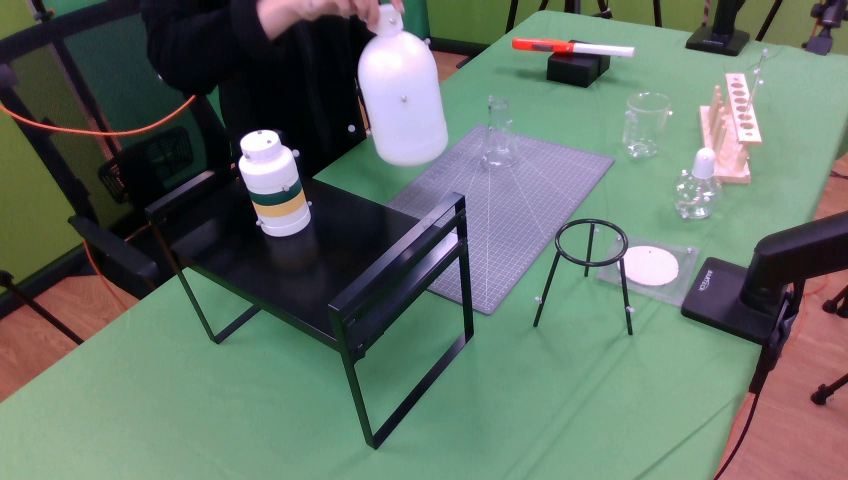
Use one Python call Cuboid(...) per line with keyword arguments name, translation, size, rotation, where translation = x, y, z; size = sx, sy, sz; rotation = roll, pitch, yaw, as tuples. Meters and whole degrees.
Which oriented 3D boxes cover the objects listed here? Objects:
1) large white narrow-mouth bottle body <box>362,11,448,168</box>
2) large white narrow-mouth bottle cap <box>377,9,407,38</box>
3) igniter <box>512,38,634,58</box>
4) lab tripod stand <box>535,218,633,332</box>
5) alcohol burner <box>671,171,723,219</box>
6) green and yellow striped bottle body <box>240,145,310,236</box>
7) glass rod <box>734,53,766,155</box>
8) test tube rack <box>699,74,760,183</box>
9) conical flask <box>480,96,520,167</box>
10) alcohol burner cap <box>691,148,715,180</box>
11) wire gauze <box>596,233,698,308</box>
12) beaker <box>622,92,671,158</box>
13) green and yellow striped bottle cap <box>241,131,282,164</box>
Cuboid(name="large white narrow-mouth bottle body", translation=(-0.028, -0.200, 0.796), size=(0.102, 0.195, 0.101), rotation=(-6, 39, 5))
Cuboid(name="large white narrow-mouth bottle cap", translation=(-0.039, -0.266, 0.742), size=(0.037, 0.024, 0.037), rotation=(-6, 39, 5))
Cuboid(name="igniter", translation=(0.328, -0.433, 1.360), size=(0.275, 0.025, 0.057), rotation=(12, 33, 20))
Cuboid(name="lab tripod stand", translation=(0.215, 0.050, 0.803), size=(0.148, 0.132, 0.147), rotation=(-4, 42, 4))
Cuboid(name="alcohol burner", translation=(0.434, -0.093, 0.955), size=(0.078, 0.119, 0.077), rotation=(-3, 43, 3))
Cuboid(name="green and yellow striped bottle body", translation=(-0.181, -0.069, 0.729), size=(0.063, 0.120, 0.063), rotation=(-4, 40, 4))
Cuboid(name="glass rod", translation=(0.540, -0.220, 1.006), size=(0.008, 0.201, 0.008), rotation=(-5, 45, 6))
Cuboid(name="test tube rack", translation=(0.547, -0.208, 1.094), size=(0.066, 0.085, 0.242), rotation=(6, 42, 15))
Cuboid(name="conical flask", translation=(0.138, -0.201, 1.111), size=(0.075, 0.122, 0.075), rotation=(-4, 41, 4))
Cuboid(name="alcohol burner cap", translation=(0.432, -0.120, 0.930), size=(0.034, 0.048, 0.033), rotation=(-7, 48, 8))
Cuboid(name="wire gauze", translation=(0.331, 0.037, 0.897), size=(0.124, 0.011, 0.121), rotation=(18, 47, 26))
Cuboid(name="beaker", translation=(0.402, -0.210, 1.106), size=(0.074, 0.101, 0.083), rotation=(-9, 40, -2))
Cuboid(name="green and yellow striped bottle cap", translation=(-0.187, -0.107, 0.695), size=(0.045, 0.020, 0.045), rotation=(-3, 38, 3))
